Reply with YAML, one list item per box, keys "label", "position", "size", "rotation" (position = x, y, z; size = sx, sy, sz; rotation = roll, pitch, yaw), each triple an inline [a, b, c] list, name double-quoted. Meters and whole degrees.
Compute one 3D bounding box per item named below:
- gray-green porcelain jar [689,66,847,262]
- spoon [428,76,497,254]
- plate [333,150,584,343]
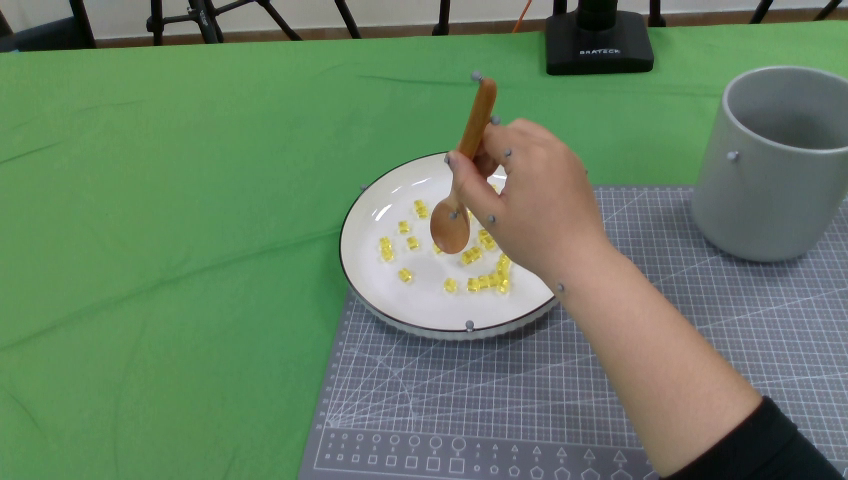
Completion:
- label: "gray-green porcelain jar"
  position: [0.272, -0.053, 0.476]
  size: [0.106, 0.128, 0.105]
  rotation: [-4, 48, 5]
- label: "spoon"
  position: [0.027, -0.043, 0.427]
  size: [0.021, 0.195, 0.041]
  rotation: [-35, 72, -20]
- label: "plate"
  position: [0.029, 0.004, 0.518]
  size: [0.207, 0.039, 0.205]
  rotation: [-3, 48, 4]
